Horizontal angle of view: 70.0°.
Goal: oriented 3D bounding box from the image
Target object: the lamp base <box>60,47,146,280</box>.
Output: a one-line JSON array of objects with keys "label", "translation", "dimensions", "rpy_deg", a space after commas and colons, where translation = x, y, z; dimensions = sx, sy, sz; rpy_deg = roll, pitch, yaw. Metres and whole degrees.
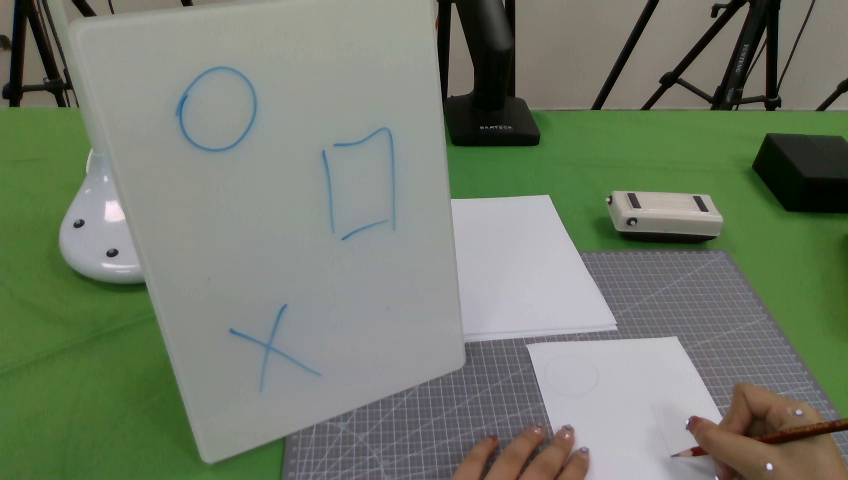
[{"label": "lamp base", "translation": [-0.288, -0.080, 0.575], "dimensions": [0.178, 0.182, 0.160], "rpy_deg": [26, 44, 27]}]

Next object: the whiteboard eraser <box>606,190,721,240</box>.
[{"label": "whiteboard eraser", "translation": [0.263, -0.027, 0.671], "dimensions": [0.113, 0.042, 0.055], "rpy_deg": [3, 40, -1]}]

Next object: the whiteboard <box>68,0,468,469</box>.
[{"label": "whiteboard", "translation": [-0.103, -0.023, 0.472], "dimensions": [0.218, 0.307, 0.142], "rpy_deg": [-15, 24, -21]}]

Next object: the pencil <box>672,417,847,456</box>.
[{"label": "pencil", "translation": [0.248, 0.125, 0.396], "dimensions": [0.012, 0.194, 0.012], "rpy_deg": [21, 53, -32]}]
